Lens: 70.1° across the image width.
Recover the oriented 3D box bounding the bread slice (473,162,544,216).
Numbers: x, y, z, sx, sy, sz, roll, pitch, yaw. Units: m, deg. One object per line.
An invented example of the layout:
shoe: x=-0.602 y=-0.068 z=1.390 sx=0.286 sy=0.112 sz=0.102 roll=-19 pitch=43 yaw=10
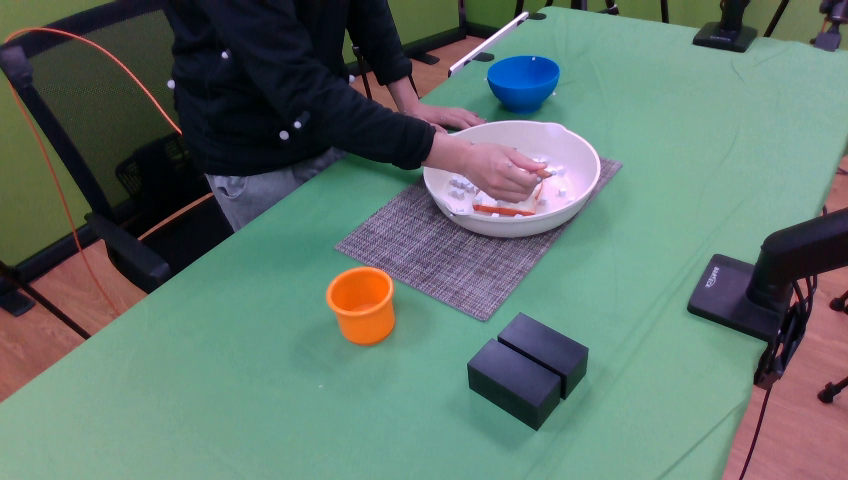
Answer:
bread slice: x=0.150 y=-0.090 z=1.040 sx=0.106 sy=0.018 sz=0.134 roll=7 pitch=43 yaw=16

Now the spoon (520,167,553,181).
spoon: x=0.174 y=-0.103 z=0.927 sx=0.041 sy=0.021 sz=0.194 roll=-6 pitch=4 yaw=4

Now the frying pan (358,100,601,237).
frying pan: x=0.067 y=-0.153 z=1.067 sx=0.484 sy=0.103 sz=0.308 roll=32 pitch=52 yaw=26

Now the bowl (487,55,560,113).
bowl: x=0.207 y=-0.319 z=1.266 sx=0.151 sy=0.077 sz=0.150 roll=-4 pitch=41 yaw=4
